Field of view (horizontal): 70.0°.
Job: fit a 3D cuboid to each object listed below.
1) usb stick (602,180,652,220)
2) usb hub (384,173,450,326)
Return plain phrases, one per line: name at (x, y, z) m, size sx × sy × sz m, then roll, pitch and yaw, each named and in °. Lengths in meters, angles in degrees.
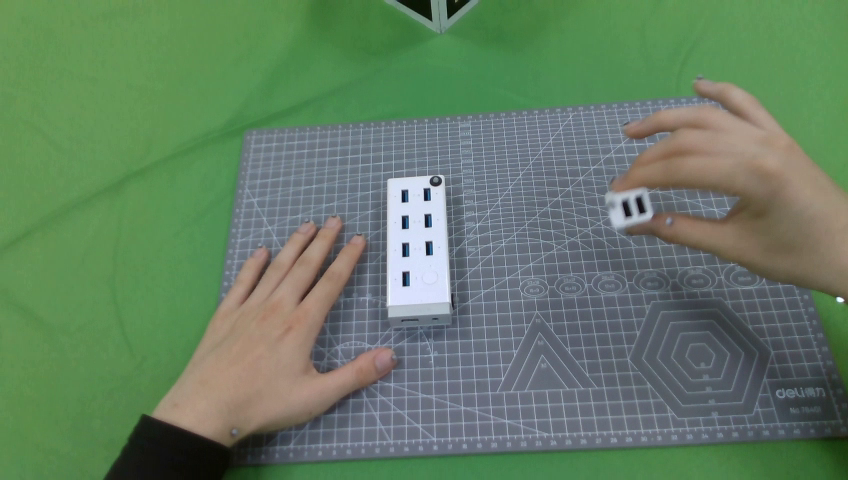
usb stick at (0.135, -0.027, 0.407) m, size 0.027 × 0.059 × 0.021 m, roll -16°, pitch 90°, yaw 12°
usb hub at (-0.006, 0.005, 0.480) m, size 0.049 × 0.025 × 0.124 m, roll -4°, pitch 61°, yaw 3°
